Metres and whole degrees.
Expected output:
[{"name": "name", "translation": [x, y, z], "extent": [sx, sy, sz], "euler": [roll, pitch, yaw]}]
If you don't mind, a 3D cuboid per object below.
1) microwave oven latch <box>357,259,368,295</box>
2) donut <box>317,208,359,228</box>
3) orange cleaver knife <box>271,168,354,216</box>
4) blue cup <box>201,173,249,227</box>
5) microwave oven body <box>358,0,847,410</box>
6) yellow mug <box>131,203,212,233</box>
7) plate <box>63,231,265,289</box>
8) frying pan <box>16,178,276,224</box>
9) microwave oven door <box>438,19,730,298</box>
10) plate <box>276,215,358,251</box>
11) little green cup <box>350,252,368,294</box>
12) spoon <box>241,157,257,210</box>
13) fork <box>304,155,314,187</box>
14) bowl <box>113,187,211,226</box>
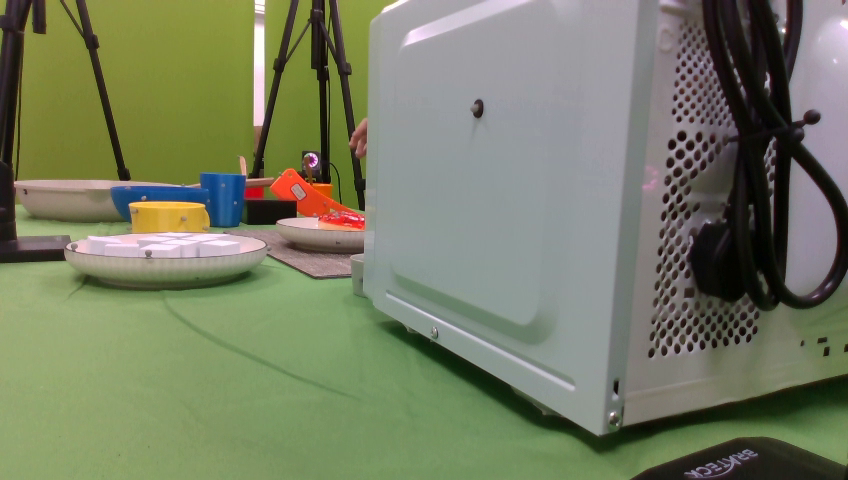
[{"name": "microwave oven latch", "translation": [-0.019, 0.031, 0.529], "extent": [0.079, 0.029, 0.030], "euler": [-1, 7, -26]}, {"name": "donut", "translation": [-0.118, -0.024, 0.954], "extent": [0.099, 0.048, 0.099], "euler": [5, 7, 0]}, {"name": "orange cleaver knife", "translation": [-0.236, -0.084, 1.332], "extent": [0.212, 0.077, 0.012], "euler": [31, -9, -31]}, {"name": "blue cup", "translation": [-0.384, -0.077, 1.164], "extent": [0.093, 0.100, 0.092], "euler": [2, 6, 0]}, {"name": "microwave oven body", "translation": [0.210, -0.051, 0.471], "extent": [0.444, 0.260, 0.324], "euler": [-1, 7, -28]}, {"name": "yellow mug", "translation": [-0.356, -0.020, 0.878], "extent": [0.099, 0.064, 0.131], "euler": [5, 7, 22]}, {"name": "plate", "translation": [-0.288, 0.021, 0.687], "extent": [0.208, 0.039, 0.207], "euler": [2, 8, 0]}, {"name": "frying pan", "translation": [-0.553, -0.097, 1.266], "extent": [0.490, 0.102, 0.305], "euler": [-10, 13, -24]}, {"name": "microwave oven door", "translation": [0.181, -0.076, 0.618], "extent": [0.358, 0.243, 0.039], "euler": [-2, 8, -28]}, {"name": "plate", "translation": [-0.126, -0.012, 0.950], "extent": [0.209, 0.038, 0.209], "euler": [2, 7, 0]}, {"name": "little green cup", "translation": [-0.048, 0.034, 0.633], "extent": [0.061, 0.038, 0.061], "euler": [3, 7, 0]}, {"name": "spoon", "translation": [-0.432, -0.140, 1.472], "extent": [0.042, 0.021, 0.193], "euler": [0, 51, -21]}, {"name": "fork", "translation": [-0.268, -0.134, 1.446], "extent": [0.028, 0.018, 0.207], "euler": [2, -36, -1]}, {"name": "bowl", "translation": [-0.436, -0.046, 1.013], "extent": [0.151, 0.077, 0.151], "euler": [2, 7, 0]}]
